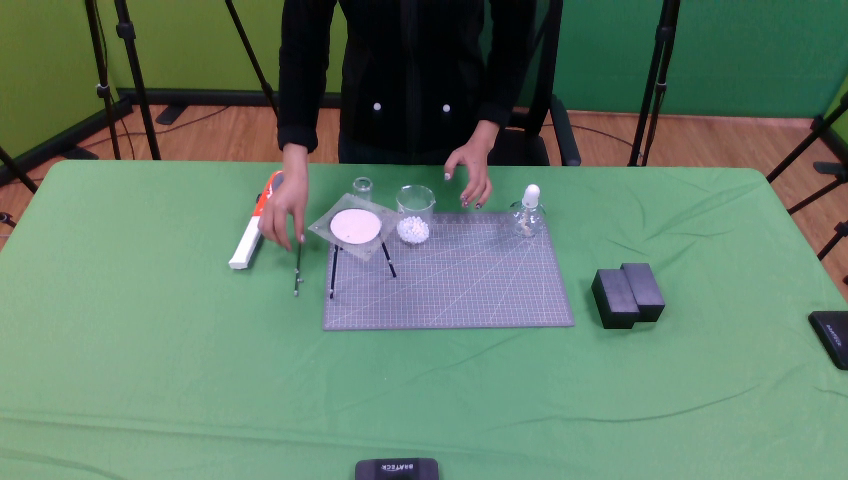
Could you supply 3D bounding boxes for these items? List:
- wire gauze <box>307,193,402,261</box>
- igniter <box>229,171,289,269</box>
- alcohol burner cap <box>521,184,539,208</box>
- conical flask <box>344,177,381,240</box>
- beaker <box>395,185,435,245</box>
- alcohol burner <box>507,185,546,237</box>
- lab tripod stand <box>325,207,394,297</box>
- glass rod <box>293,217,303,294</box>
[{"bbox_3d":[-0.119,-0.028,1.043,0.125,0.011,0.121,24,47,17],"label":"wire gauze"},{"bbox_3d":[-0.328,-0.049,1.218,0.057,0.025,0.275,0,45,11],"label":"igniter"},{"bbox_3d":[0.210,-0.087,1.183,0.034,0.048,0.033,0,52,0],"label":"alcohol burner cap"},{"bbox_3d":[-0.121,-0.065,1.180,0.075,0.122,0.075,2,46,-2],"label":"conical flask"},{"bbox_3d":[-0.022,-0.048,1.187,0.074,0.101,0.083,-28,53,-28],"label":"beaker"},{"bbox_3d":[0.208,-0.063,1.210,0.078,0.119,0.077,3,44,-3],"label":"alcohol burner"},{"bbox_3d":[-0.124,0.017,1.092,0.148,0.132,0.147,3,44,-3],"label":"lab tripod stand"},{"bbox_3d":[-0.242,0.025,1.167,0.008,0.008,0.198,-1,47,-5],"label":"glass rod"}]
